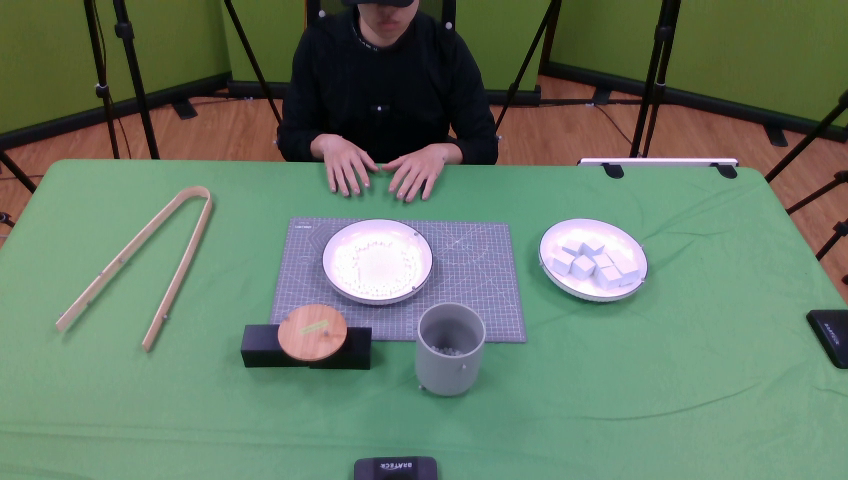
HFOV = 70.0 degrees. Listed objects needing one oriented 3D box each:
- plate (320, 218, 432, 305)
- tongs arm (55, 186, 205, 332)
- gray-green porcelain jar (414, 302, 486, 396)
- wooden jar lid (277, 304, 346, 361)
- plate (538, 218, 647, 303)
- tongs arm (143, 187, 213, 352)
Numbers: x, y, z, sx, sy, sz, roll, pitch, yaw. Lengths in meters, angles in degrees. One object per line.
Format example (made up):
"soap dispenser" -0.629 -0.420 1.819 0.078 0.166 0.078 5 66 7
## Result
"plate" -0.089 0.044 1.134 0.209 0.038 0.208 3 46 -2
"tongs arm" -0.530 0.022 1.126 0.051 0.026 0.383 14 46 8
"gray-green porcelain jar" 0.038 0.177 0.958 0.106 0.127 0.105 2 46 -2
"wooden jar lid" -0.179 0.150 0.972 0.108 0.021 0.107 2 45 -2
"plate" 0.322 0.042 1.171 0.208 0.039 0.206 2 46 -2
"tongs arm" -0.449 0.039 1.121 0.028 0.028 0.385 2 46 1
